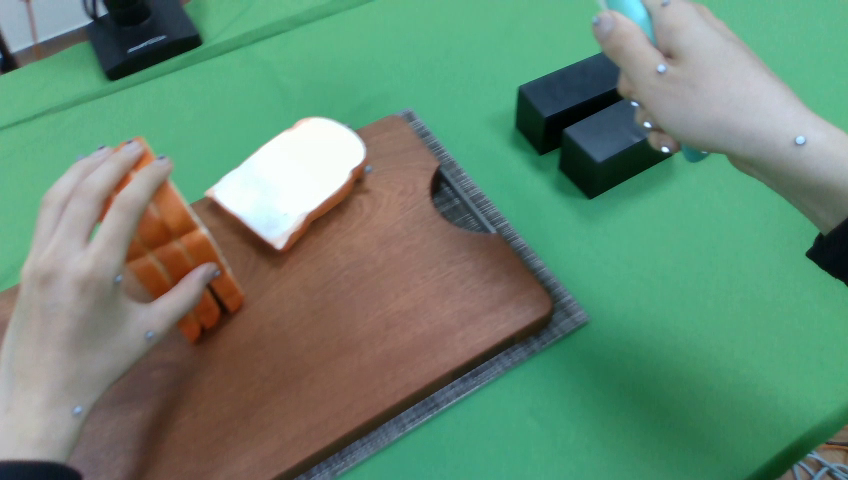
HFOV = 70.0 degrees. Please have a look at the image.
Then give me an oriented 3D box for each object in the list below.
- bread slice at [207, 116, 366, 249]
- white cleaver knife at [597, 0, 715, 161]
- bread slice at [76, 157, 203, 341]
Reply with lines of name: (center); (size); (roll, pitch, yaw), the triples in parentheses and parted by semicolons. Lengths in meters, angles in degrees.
bread slice: (-0.115, -0.058, 0.548); (0.104, 0.019, 0.131); (33, 68, 28)
white cleaver knife: (0.112, -0.179, 0.392); (0.021, 0.066, 0.285); (-27, 84, 15)
bread slice: (-0.210, 0.001, 0.449); (0.018, 0.135, 0.106); (-31, 52, -16)
